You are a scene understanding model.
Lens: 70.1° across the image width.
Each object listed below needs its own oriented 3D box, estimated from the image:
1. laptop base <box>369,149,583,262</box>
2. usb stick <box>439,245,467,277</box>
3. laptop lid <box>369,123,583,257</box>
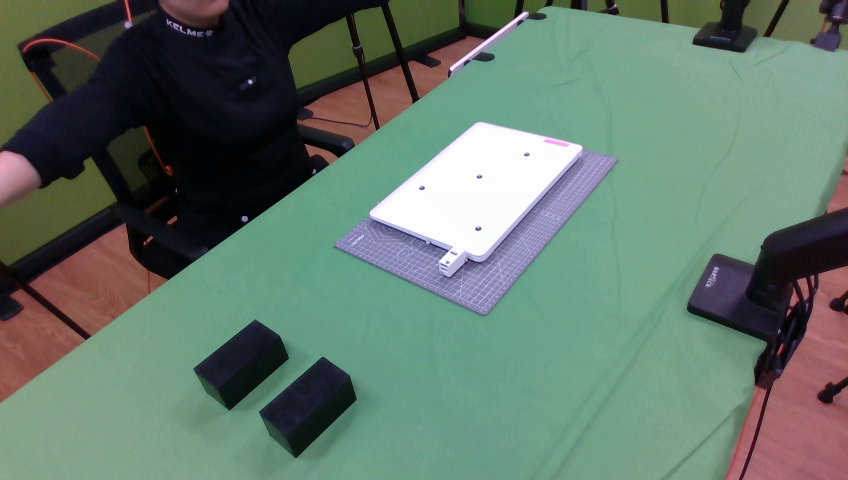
[{"bbox_3d":[0.101,-0.097,1.071,0.233,0.023,0.355,19,47,32],"label":"laptop base"},{"bbox_3d":[0.048,0.028,0.913,0.021,0.027,0.059,23,47,31],"label":"usb stick"},{"bbox_3d":[0.098,-0.106,1.065,0.240,0.013,0.358,22,48,33],"label":"laptop lid"}]
